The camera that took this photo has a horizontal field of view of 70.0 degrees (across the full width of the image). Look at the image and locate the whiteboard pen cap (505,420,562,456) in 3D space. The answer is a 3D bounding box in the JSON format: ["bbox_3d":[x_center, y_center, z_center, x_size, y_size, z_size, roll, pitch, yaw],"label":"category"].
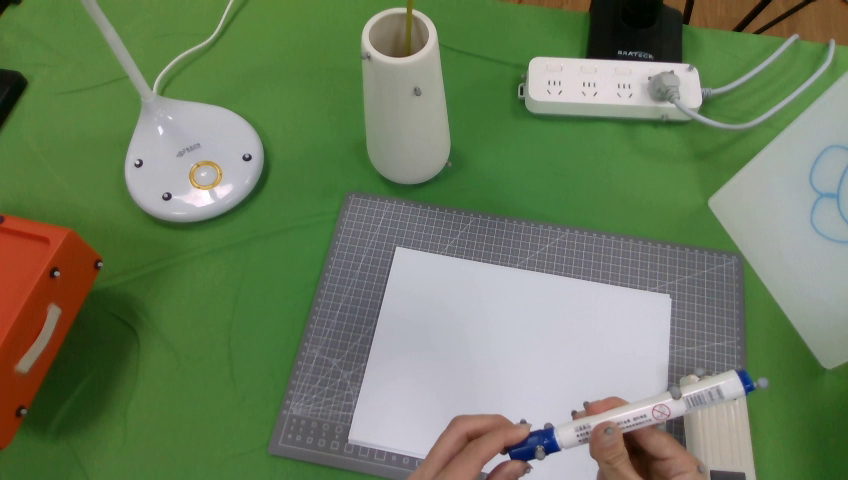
[{"bbox_3d":[0.069,0.123,0.380,0.033,0.018,0.018,-21,63,15],"label":"whiteboard pen cap"}]

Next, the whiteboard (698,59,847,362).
[{"bbox_3d":[0.461,-0.056,0.564,0.144,0.307,0.215,-12,62,-25],"label":"whiteboard"}]

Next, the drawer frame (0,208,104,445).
[{"bbox_3d":[-0.455,0.063,0.565,0.213,0.083,0.200,13,66,5],"label":"drawer frame"}]

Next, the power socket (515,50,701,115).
[{"bbox_3d":[0.228,-0.196,0.751,0.227,0.033,0.071,4,65,2],"label":"power socket"}]

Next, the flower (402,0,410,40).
[{"bbox_3d":[-0.017,-0.202,0.575,0.038,0.365,0.043,-2,46,-7],"label":"flower"}]

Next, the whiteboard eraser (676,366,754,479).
[{"bbox_3d":[0.270,0.176,0.566,0.055,0.042,0.112,5,65,2],"label":"whiteboard eraser"}]

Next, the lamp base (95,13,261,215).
[{"bbox_3d":[-0.285,-0.142,0.652,0.160,0.182,0.178,-42,68,-18],"label":"lamp base"}]

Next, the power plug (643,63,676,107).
[{"bbox_3d":[0.276,-0.176,0.715,0.035,0.053,0.072,13,67,8],"label":"power plug"}]

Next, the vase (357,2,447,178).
[{"bbox_3d":[-0.025,-0.151,0.642,0.098,0.201,0.097,-1,63,2],"label":"vase"}]

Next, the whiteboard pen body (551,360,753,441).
[{"bbox_3d":[0.123,0.101,0.364,0.140,0.017,0.017,-23,63,16],"label":"whiteboard pen body"}]

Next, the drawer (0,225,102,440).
[{"bbox_3d":[-0.449,0.062,0.563,0.211,0.074,0.193,12,66,6],"label":"drawer"}]
